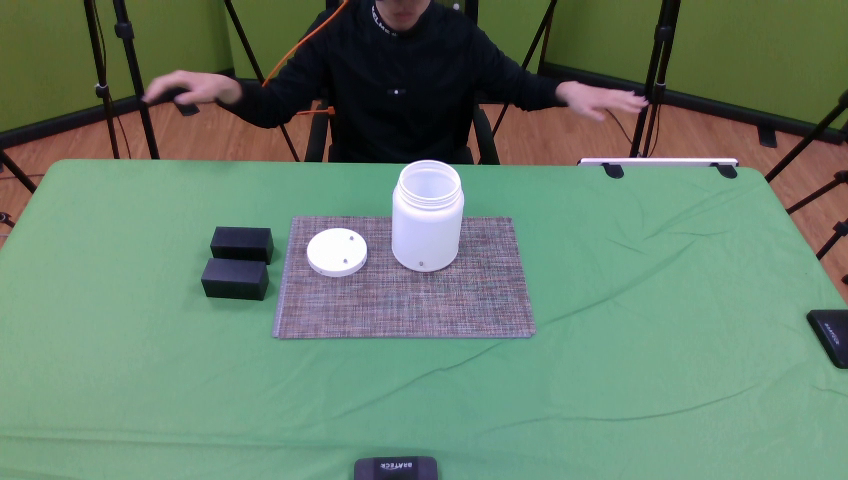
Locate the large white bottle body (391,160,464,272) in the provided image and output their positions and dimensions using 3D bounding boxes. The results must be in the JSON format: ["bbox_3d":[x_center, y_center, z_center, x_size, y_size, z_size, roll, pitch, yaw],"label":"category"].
[{"bbox_3d":[0.005,-0.045,1.124,0.131,0.185,0.130,2,47,-2],"label":"large white bottle body"}]

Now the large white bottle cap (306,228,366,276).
[{"bbox_3d":[-0.168,0.022,1.162,0.115,0.018,0.114,2,46,-2],"label":"large white bottle cap"}]
